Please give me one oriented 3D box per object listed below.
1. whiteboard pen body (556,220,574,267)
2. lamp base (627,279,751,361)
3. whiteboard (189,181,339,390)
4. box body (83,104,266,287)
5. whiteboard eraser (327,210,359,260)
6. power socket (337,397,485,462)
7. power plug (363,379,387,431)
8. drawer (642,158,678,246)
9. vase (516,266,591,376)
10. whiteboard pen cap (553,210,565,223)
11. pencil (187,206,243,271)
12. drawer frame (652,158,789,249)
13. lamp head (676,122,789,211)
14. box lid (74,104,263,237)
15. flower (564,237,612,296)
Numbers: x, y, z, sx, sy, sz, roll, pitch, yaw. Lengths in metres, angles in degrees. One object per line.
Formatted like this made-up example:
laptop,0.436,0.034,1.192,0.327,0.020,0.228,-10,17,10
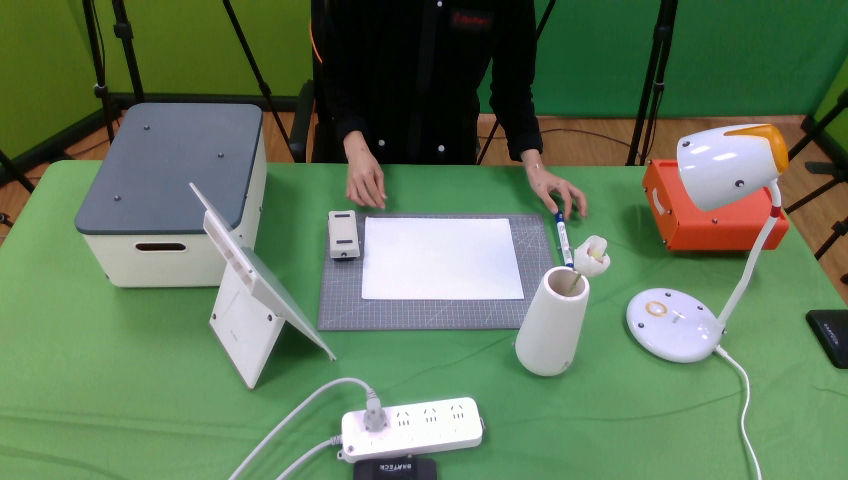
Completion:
whiteboard pen body,0.281,-0.001,1.218,0.017,0.017,0.140,0,50,-4
lamp base,0.459,0.100,1.027,0.178,0.181,0.160,27,51,17
whiteboard,-0.292,0.096,0.929,0.144,0.307,0.216,-37,57,-10
box body,-0.447,-0.088,1.150,0.254,0.161,0.361,-1,46,-5
whiteboard eraser,-0.158,-0.009,1.177,0.055,0.042,0.112,-6,47,-7
power socket,-0.018,0.285,0.915,0.227,0.033,0.071,-5,46,-8
power plug,-0.072,0.252,0.910,0.035,0.053,0.072,3,45,-1
drawer,0.565,-0.076,1.211,0.212,0.073,0.193,2,45,-2
vase,0.208,0.132,0.964,0.098,0.201,0.097,3,46,-3
whiteboard pen cap,0.281,-0.045,1.256,0.018,0.018,0.033,-5,50,-9
pencil,-0.401,-0.009,1.176,0.012,0.012,0.193,15,45,10
drawer frame,0.571,-0.075,1.214,0.214,0.083,0.200,0,45,-1
lamp head,0.423,-0.104,0.819,0.122,0.113,0.112,-13,33,40
box lid,-0.443,-0.139,1.095,0.263,0.015,0.369,-1,45,-5
flower,0.206,0.088,0.893,0.038,0.363,0.044,-17,67,-9
